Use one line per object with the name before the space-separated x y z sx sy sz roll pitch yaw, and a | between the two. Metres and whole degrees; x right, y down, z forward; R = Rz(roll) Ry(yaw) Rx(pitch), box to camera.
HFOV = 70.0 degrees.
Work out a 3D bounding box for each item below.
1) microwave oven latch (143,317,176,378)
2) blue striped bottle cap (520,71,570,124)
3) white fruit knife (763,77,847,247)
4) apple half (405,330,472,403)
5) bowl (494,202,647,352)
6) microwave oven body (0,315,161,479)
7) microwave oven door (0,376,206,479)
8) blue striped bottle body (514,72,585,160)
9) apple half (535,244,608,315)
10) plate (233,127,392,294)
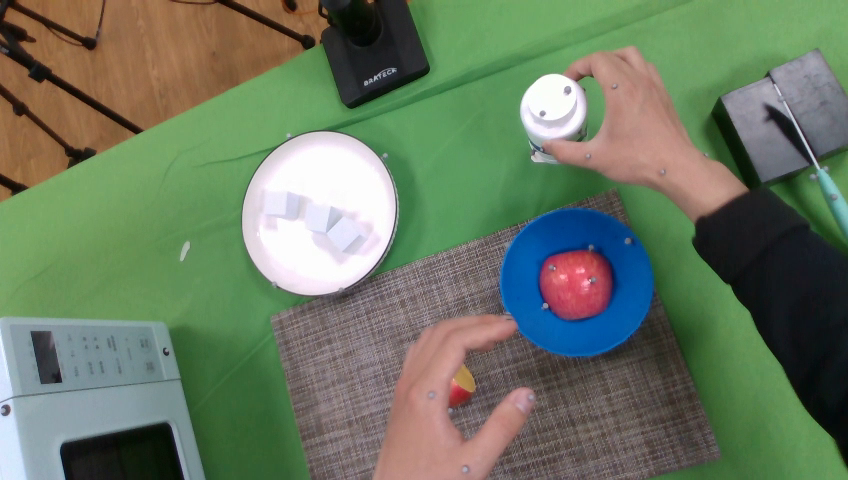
microwave oven latch | -0.343 0.137 0.770 0.030 0.029 0.079 -22 79 11
blue striped bottle cap | 0.108 -0.128 0.543 0.044 0.021 0.044 -1 84 12
white fruit knife | 0.381 -0.069 0.592 0.016 0.027 0.207 -30 93 28
apple half | 0.010 0.146 0.670 0.053 0.075 0.080 -41 78 11
bowl | 0.155 0.041 0.640 0.151 0.077 0.151 -2 83 16
microwave oven body | -0.444 0.342 0.671 0.326 0.261 0.439 -22 78 11
microwave oven door | -0.299 0.325 0.629 0.039 0.245 0.354 -23 77 11
blue striped bottle body | 0.123 -0.122 0.592 0.063 0.121 0.063 -2 84 16
apple half | 0.155 0.040 0.635 0.081 0.033 0.081 -2 82 17
plate | -0.136 -0.035 0.755 0.207 0.039 0.207 -2 83 15
